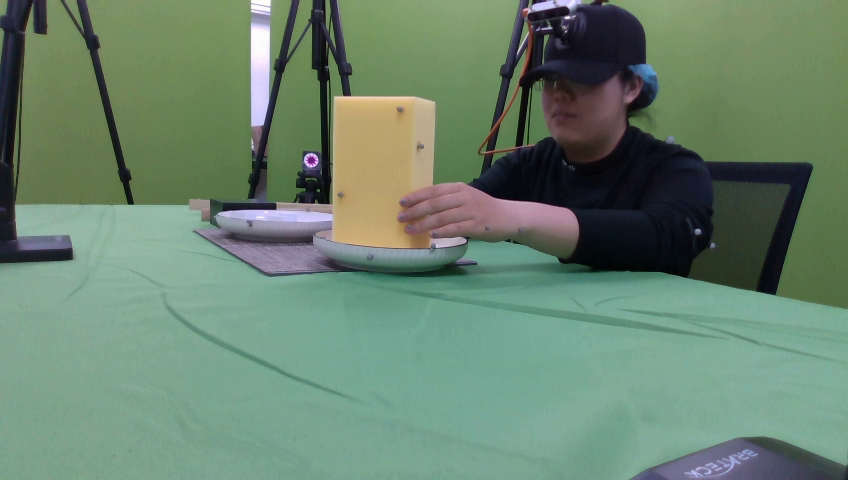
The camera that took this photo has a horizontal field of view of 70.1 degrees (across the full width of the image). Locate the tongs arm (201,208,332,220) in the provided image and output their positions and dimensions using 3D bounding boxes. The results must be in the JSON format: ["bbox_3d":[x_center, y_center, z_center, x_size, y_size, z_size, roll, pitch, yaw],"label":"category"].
[{"bbox_3d":[-0.302,-0.060,1.350,0.390,0.028,0.028,-3,6,-38],"label":"tongs arm"}]

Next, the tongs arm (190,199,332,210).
[{"bbox_3d":[-0.341,-0.075,1.419,0.387,0.026,0.050,0,8,-25],"label":"tongs arm"}]

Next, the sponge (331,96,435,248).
[{"bbox_3d":[-0.053,-0.077,0.777,0.118,0.206,0.061,5,7,25],"label":"sponge"}]

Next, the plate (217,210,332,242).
[{"bbox_3d":[-0.241,-0.024,1.026,0.208,0.039,0.207,3,7,0],"label":"plate"}]

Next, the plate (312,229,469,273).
[{"bbox_3d":[-0.044,0.013,0.807,0.209,0.038,0.209,2,7,0],"label":"plate"}]
